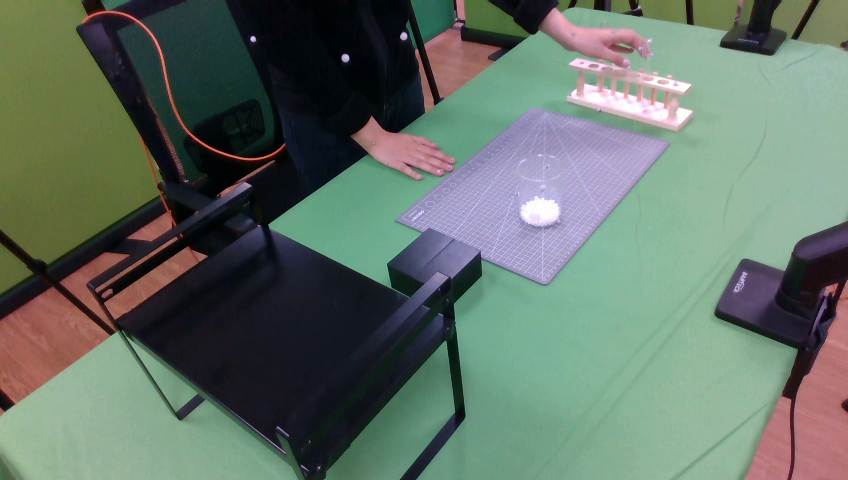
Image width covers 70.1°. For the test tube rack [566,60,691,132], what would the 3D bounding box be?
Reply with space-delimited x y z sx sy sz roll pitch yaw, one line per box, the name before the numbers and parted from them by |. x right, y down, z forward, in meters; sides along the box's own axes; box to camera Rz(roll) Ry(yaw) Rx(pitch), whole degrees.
test tube rack | 0.411 -0.299 1.217 0.240 0.085 0.067 26 51 33

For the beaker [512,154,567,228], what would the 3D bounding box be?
beaker | 0.186 -0.076 0.973 0.084 0.101 0.074 1 41 11

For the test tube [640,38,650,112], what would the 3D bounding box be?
test tube | 0.422 -0.312 1.154 0.017 0.151 0.017 -9 39 8

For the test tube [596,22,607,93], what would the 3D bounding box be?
test tube | 0.363 -0.372 1.240 0.017 0.151 0.017 -6 40 5
